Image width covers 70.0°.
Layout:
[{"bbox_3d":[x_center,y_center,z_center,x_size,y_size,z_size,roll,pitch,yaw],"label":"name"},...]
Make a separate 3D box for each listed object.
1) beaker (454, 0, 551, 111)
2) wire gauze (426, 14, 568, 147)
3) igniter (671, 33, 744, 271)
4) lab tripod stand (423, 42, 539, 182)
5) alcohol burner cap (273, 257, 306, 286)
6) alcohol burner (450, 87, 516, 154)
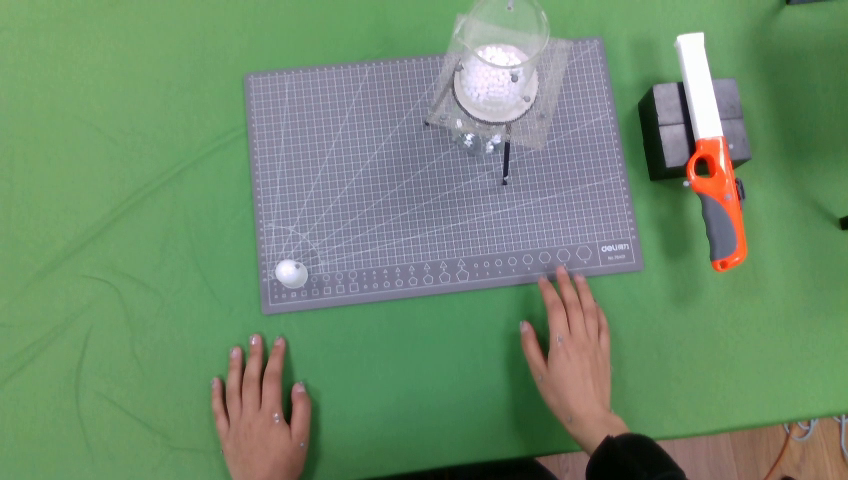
[{"bbox_3d":[0.067,-0.170,0.565,0.084,0.100,0.073,-5,78,-2],"label":"beaker"},{"bbox_3d":[0.076,-0.161,0.613,0.121,0.011,0.124,16,76,0],"label":"wire gauze"},{"bbox_3d":[0.319,-0.102,0.683,0.057,0.025,0.275,-6,80,4],"label":"igniter"},{"bbox_3d":[0.073,-0.152,0.678,0.148,0.132,0.147,0,78,0],"label":"lab tripod stand"},{"bbox_3d":[-0.155,0.033,0.687,0.034,0.048,0.033,0,79,-1],"label":"alcohol burner cap"},{"bbox_3d":[0.068,-0.142,0.686,0.078,0.119,0.077,0,81,0],"label":"alcohol burner"}]
